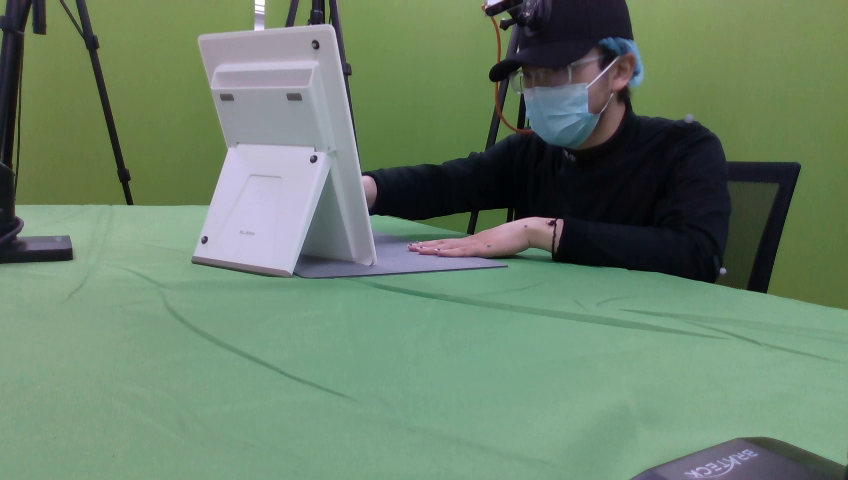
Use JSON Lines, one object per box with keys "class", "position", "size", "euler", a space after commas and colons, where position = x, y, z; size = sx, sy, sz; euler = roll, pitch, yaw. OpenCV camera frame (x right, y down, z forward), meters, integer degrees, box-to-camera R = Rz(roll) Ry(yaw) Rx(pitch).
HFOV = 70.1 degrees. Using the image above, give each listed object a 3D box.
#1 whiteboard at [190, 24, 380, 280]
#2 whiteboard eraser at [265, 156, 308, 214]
{"class": "whiteboard", "position": [-0.206, -0.085, 0.732], "size": [0.216, 0.305, 0.144], "euler": [7, 30, 30]}
{"class": "whiteboard eraser", "position": [-0.198, -0.074, 0.866], "size": [0.042, 0.055, 0.112], "euler": [-39, -6, -15]}
